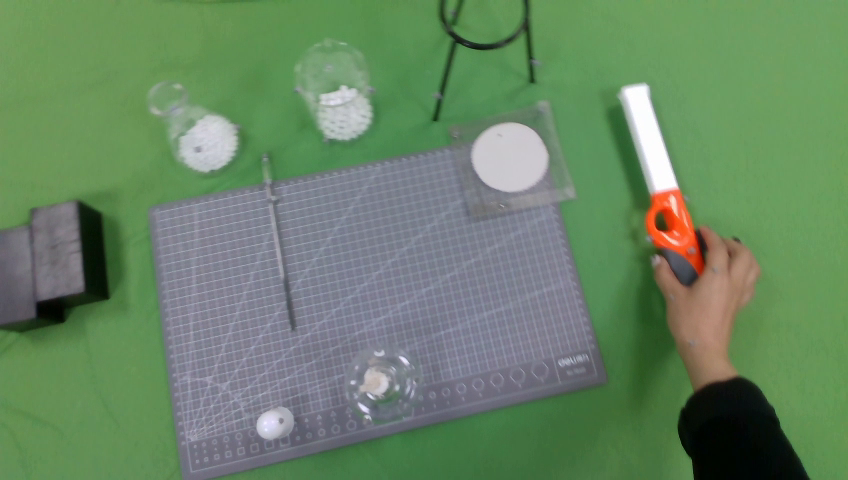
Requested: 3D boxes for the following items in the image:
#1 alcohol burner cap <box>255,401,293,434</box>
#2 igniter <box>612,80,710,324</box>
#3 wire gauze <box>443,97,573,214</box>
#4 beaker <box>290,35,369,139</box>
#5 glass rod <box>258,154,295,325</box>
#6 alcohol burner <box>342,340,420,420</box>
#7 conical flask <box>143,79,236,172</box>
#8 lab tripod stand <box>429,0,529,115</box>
[{"bbox_3d":[-0.154,0.180,0.612,0.034,0.048,0.033,0,77,-1],"label":"alcohol burner cap"},{"bbox_3d":[0.260,-0.046,0.666,0.057,0.025,0.275,-11,79,-9],"label":"igniter"},{"bbox_3d":[0.095,-0.097,0.692,0.125,0.011,0.121,-13,78,-3],"label":"wire gauze"},{"bbox_3d":[-0.100,-0.162,0.661,0.074,0.100,0.083,-10,77,-3],"label":"beaker"},{"bbox_3d":[-0.163,-0.003,0.668,0.008,0.008,0.198,-13,78,-4],"label":"glass rod"},{"bbox_3d":[-0.043,0.135,0.586,0.078,0.119,0.077,0,79,0],"label":"alcohol burner"},{"bbox_3d":[-0.252,-0.125,0.639,0.075,0.122,0.075,0,77,0],"label":"conical flask"},{"bbox_3d":[0.052,-0.215,0.656,0.148,0.132,0.147,0,79,-1],"label":"lab tripod stand"}]
